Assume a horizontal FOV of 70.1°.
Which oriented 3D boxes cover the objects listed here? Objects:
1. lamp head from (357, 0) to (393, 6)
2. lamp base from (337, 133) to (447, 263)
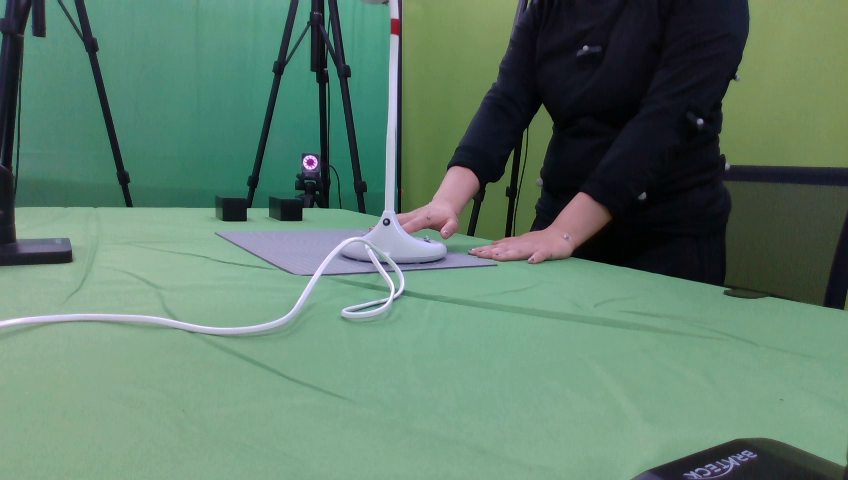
[{"bbox_3d":[-0.056,-0.383,0.819,0.113,0.112,0.122,0,13,-21],"label":"lamp head"},{"bbox_3d":[-0.043,-0.062,0.868,0.161,0.180,0.179,2,10,-3],"label":"lamp base"}]
